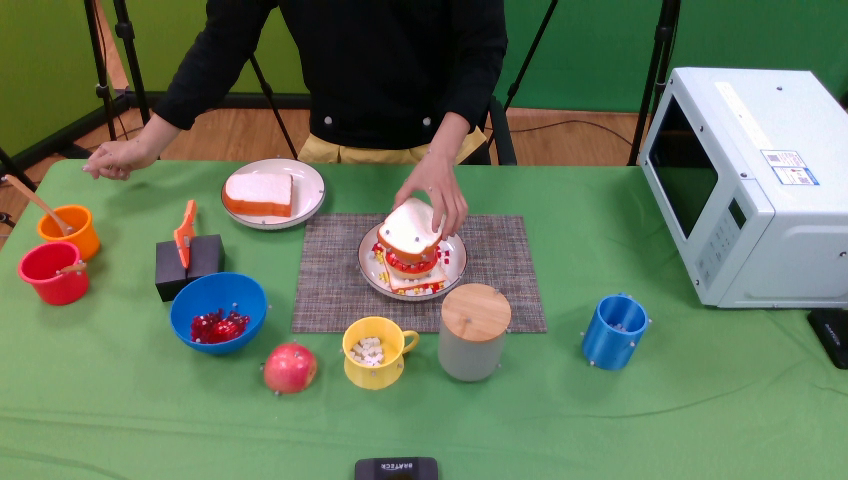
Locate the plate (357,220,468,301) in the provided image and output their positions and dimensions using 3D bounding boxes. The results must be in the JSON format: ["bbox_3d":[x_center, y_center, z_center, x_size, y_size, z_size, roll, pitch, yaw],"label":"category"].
[{"bbox_3d":[-0.022,0.037,1.141,0.208,0.039,0.206,2,46,-2],"label":"plate"}]

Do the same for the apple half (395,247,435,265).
[{"bbox_3d":[-0.017,0.005,1.084,0.081,0.033,0.081,6,49,-7],"label":"apple half"}]

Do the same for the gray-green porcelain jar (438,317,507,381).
[{"bbox_3d":[0.076,0.158,0.977,0.106,0.127,0.105,2,47,-2],"label":"gray-green porcelain jar"}]

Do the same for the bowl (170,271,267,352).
[{"bbox_3d":[-0.333,0.132,1.006,0.151,0.077,0.150,2,46,-2],"label":"bowl"}]

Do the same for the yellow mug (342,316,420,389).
[{"bbox_3d":[-0.067,0.178,0.990,0.131,0.064,0.099,-16,50,-19],"label":"yellow mug"}]

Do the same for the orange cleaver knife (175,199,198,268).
[{"bbox_3d":[-0.438,-0.017,1.138,0.012,0.077,0.210,-14,27,-7],"label":"orange cleaver knife"}]

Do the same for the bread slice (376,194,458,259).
[{"bbox_3d":[-0.015,-0.022,1.046,0.104,0.019,0.131,30,49,16],"label":"bread slice"}]

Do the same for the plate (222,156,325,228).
[{"bbox_3d":[-0.308,-0.095,1.251,0.209,0.038,0.208,3,46,-3],"label":"plate"}]

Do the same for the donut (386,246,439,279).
[{"bbox_3d":[-0.021,0.029,1.110,0.099,0.048,0.098,2,46,-2],"label":"donut"}]

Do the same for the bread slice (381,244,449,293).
[{"bbox_3d":[-0.026,0.040,1.141,0.107,0.018,0.133,-13,49,-15],"label":"bread slice"}]

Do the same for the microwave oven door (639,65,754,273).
[{"bbox_3d":[0.522,-0.147,1.192,0.039,0.245,0.353,0,47,-3],"label":"microwave oven door"}]

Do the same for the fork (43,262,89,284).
[{"bbox_3d":[-0.599,0.053,1.013,0.207,0.019,0.028,-14,30,45],"label":"fork"}]

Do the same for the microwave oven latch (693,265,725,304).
[{"bbox_3d":[0.522,0.081,1.115,0.030,0.029,0.078,2,46,-1],"label":"microwave oven latch"}]

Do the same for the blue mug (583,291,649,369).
[{"bbox_3d":[0.324,0.142,1.023,0.082,0.106,0.116,15,47,11],"label":"blue mug"}]

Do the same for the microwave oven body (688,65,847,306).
[{"bbox_3d":[0.669,-0.111,1.176,0.326,0.261,0.439,0,46,-3],"label":"microwave oven body"}]

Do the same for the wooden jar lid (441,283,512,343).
[{"bbox_3d":[0.080,0.114,0.931,0.108,0.021,0.107,1,49,0],"label":"wooden jar lid"}]

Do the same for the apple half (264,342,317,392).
[{"bbox_3d":[-0.214,0.198,0.970,0.074,0.053,0.080,19,48,11],"label":"apple half"}]

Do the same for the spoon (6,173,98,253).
[{"bbox_3d":[-0.678,-0.050,1.106,0.021,0.194,0.041,-19,27,43],"label":"spoon"}]
